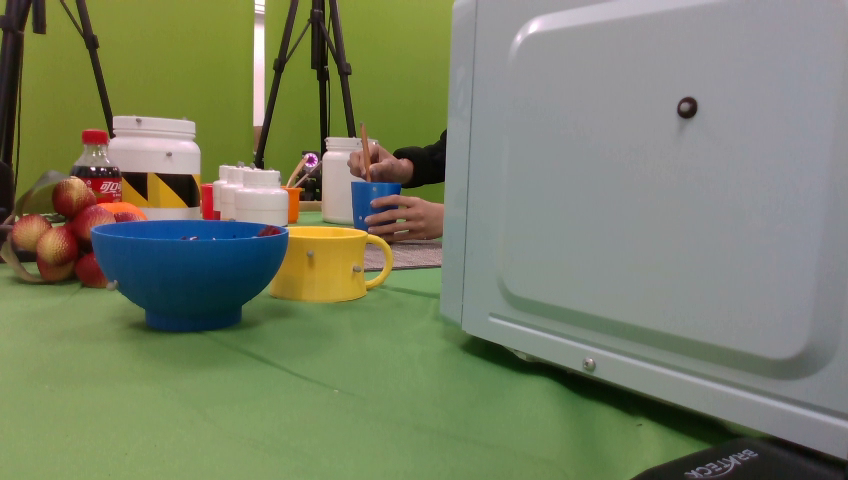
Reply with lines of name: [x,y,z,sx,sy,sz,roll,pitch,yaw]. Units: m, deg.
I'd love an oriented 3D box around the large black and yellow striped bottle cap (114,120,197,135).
large black and yellow striped bottle cap: [-0.407,-0.171,0.920,0.115,0.019,0.115,2,9,0]

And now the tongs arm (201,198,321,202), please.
tongs arm: [-0.433,-0.090,1.508,0.390,0.028,0.028,-1,2,-29]

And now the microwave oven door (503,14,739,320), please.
microwave oven door: [0.218,-0.065,0.600,0.358,0.243,0.039,-4,10,-41]

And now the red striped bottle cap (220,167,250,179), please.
red striped bottle cap: [-0.281,-0.100,0.901,0.044,0.017,0.044,-1,4,0]

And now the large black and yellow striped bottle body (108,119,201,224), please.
large black and yellow striped bottle body: [-0.412,-0.088,0.930,0.131,0.184,0.130,3,7,0]

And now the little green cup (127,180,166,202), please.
little green cup: [-0.486,-0.086,1.061,0.061,0.038,0.061,1,7,0]

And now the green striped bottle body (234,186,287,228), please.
green striped bottle body: [-0.200,-0.023,0.743,0.063,0.119,0.063,2,7,0]

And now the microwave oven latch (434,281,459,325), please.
microwave oven latch: [0.044,0.045,0.470,0.079,0.029,0.030,-2,8,-39]

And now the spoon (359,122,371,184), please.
spoon: [-0.098,-0.105,1.028,0.021,0.193,0.042,-2,-4,18]

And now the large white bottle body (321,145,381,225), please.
large white bottle body: [-0.162,-0.131,1.340,0.131,0.184,0.130,2,8,0]

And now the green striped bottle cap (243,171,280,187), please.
green striped bottle cap: [-0.198,-0.074,0.736,0.044,0.020,0.044,1,7,0]

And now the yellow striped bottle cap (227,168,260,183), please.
yellow striped bottle cap: [-0.243,-0.087,0.818,0.044,0.018,0.044,3,6,0]

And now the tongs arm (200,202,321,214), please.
tongs arm: [-0.378,-0.079,1.440,0.387,0.026,0.050,-4,8,-44]

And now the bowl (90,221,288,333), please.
bowl: [-0.190,0.029,0.500,0.151,0.077,0.151,3,7,0]

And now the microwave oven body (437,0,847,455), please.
microwave oven body: [0.279,-0.040,0.465,0.444,0.260,0.324,-3,9,-41]

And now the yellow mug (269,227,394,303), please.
yellow mug: [-0.094,0.023,0.629,0.131,0.064,0.099,0,7,-22]

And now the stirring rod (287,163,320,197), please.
stirring rod: [-0.283,-0.107,1.298,0.014,0.006,0.176,10,52,51]

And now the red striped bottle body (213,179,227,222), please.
red striped bottle body: [-0.284,-0.048,0.909,0.063,0.119,0.063,3,11,0]

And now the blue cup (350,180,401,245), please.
blue cup: [-0.082,-0.046,1.013,0.093,0.100,0.092,2,10,0]

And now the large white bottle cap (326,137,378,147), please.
large white bottle cap: [-0.158,-0.214,1.329,0.115,0.018,0.115,2,8,0]

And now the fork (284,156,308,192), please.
fork: [-0.295,-0.116,1.323,0.028,0.019,0.207,1,50,21]

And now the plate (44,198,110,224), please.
plate: [-0.617,-0.056,1.179,0.209,0.038,0.209,3,7,0]

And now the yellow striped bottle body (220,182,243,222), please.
yellow striped bottle body: [-0.245,-0.036,0.825,0.063,0.120,0.063,3,8,0]
